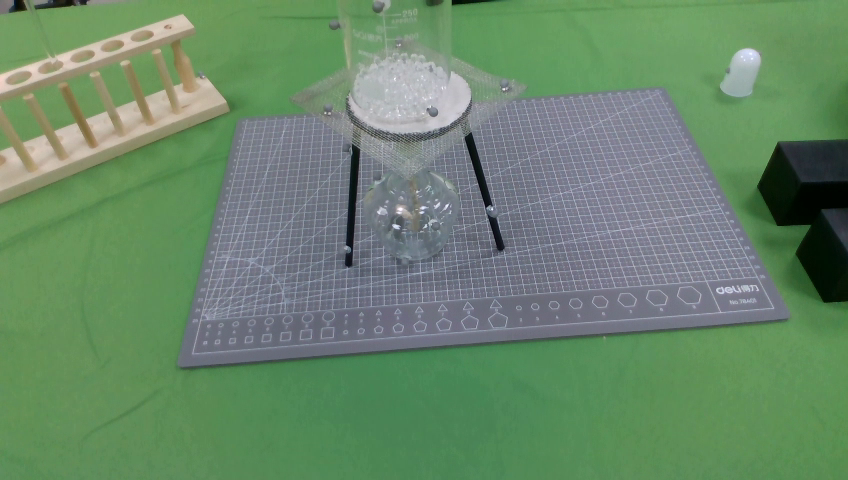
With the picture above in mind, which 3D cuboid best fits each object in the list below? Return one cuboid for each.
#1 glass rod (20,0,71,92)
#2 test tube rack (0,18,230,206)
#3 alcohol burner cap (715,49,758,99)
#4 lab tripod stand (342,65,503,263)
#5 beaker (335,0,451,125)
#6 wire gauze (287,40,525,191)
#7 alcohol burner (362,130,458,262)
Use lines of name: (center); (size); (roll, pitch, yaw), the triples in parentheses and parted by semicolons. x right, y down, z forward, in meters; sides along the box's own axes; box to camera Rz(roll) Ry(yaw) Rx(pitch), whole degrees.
glass rod: (-0.341, -0.173, 0.547); (0.008, 0.201, 0.008); (2, 48, -2)
test tube rack: (-0.328, -0.128, 0.595); (0.242, 0.086, 0.066); (-28, 52, -21)
alcohol burner cap: (0.325, -0.174, 0.626); (0.034, 0.048, 0.033); (-1, 47, 2)
lab tripod stand: (-0.005, -0.056, 0.474); (0.148, 0.133, 0.147); (-1, 47, 1)
beaker: (-0.021, -0.133, 0.389); (0.084, 0.101, 0.073); (10, 48, 12)
wire gauze: (-0.012, -0.098, 0.423); (0.124, 0.011, 0.121); (36, 60, 27)
alcohol burner: (-0.011, -0.038, 0.471); (0.078, 0.120, 0.077); (-1, 49, 1)
